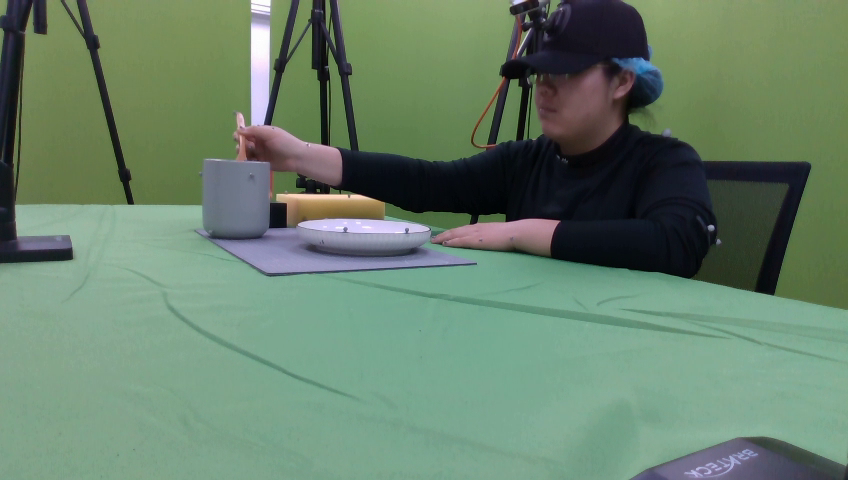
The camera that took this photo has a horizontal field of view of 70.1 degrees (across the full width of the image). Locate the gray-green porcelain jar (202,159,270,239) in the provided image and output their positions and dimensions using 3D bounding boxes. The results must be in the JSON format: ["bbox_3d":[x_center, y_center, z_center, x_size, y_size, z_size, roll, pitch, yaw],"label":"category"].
[{"bbox_3d":[-0.310,-0.068,0.999,0.106,0.126,0.106,3,8,0],"label":"gray-green porcelain jar"}]

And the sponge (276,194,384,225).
[{"bbox_3d":[-0.203,-0.066,1.311,0.208,0.061,0.117,-2,8,-35],"label":"sponge"}]

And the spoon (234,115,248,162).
[{"bbox_3d":[-0.309,-0.159,1.027,0.042,0.021,0.193,10,42,-26],"label":"spoon"}]

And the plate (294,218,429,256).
[{"bbox_3d":[-0.096,-0.005,0.936,0.208,0.039,0.207,3,7,0],"label":"plate"}]
